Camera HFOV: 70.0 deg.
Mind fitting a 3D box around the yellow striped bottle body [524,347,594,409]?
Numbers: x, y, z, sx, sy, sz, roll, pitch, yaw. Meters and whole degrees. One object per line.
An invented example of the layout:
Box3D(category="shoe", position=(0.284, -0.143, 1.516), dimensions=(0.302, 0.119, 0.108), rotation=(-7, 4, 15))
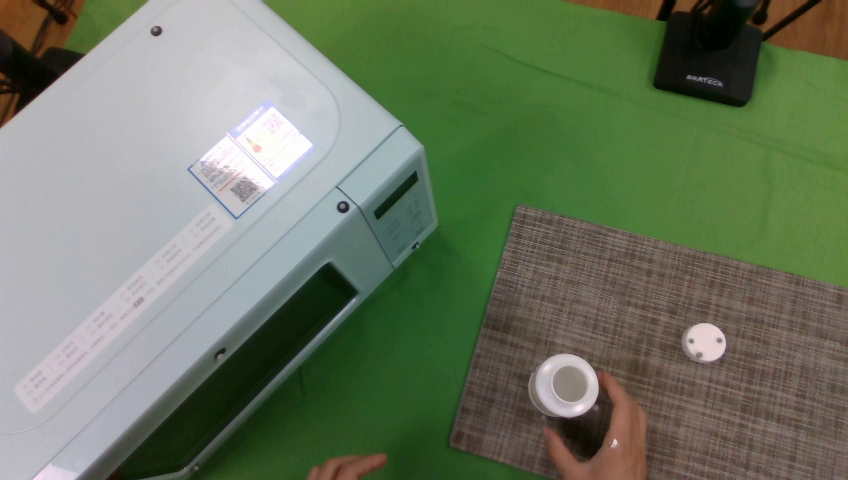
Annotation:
Box3D(category="yellow striped bottle body", position=(0.142, 0.147, 0.641), dimensions=(0.063, 0.121, 0.062), rotation=(-1, 75, 4))

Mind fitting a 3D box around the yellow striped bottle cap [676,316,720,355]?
Box3D(category="yellow striped bottle cap", position=(0.314, 0.109, 0.694), dimensions=(0.044, 0.019, 0.044), rotation=(-1, 76, 5))

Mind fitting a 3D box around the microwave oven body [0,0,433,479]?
Box3D(category="microwave oven body", position=(-0.258, -0.011, 0.638), dimensions=(0.324, 0.261, 0.441), rotation=(43, 83, 12))

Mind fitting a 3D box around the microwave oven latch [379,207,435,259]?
Box3D(category="microwave oven latch", position=(-0.021, -0.015, 0.723), dimensions=(0.079, 0.029, 0.030), rotation=(-44, 77, -7))

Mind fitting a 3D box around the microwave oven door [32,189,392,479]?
Box3D(category="microwave oven door", position=(-0.183, 0.113, 0.596), dimensions=(0.039, 0.245, 0.355), rotation=(42, 82, 14))
